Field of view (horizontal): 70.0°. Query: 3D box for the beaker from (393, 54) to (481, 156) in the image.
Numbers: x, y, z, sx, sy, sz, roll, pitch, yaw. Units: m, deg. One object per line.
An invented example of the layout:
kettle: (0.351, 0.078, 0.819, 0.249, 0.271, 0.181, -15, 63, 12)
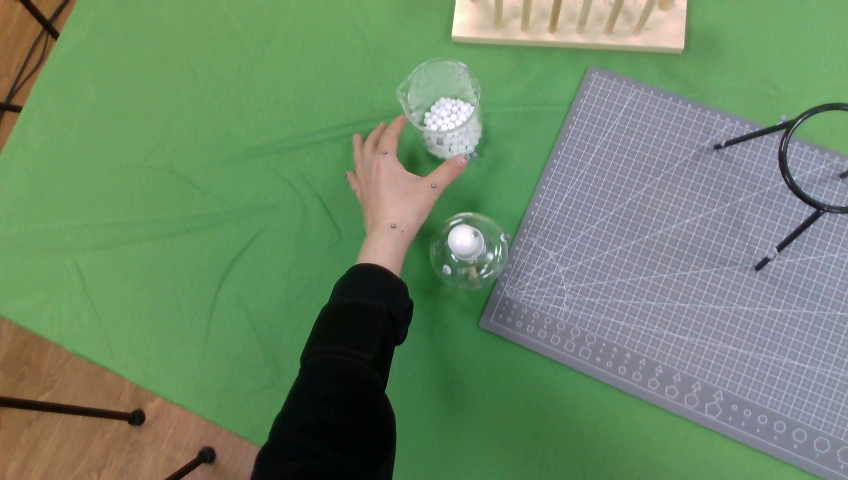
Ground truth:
beaker: (0.017, -0.130, 0.609, 0.084, 0.101, 0.074, 9, 83, 9)

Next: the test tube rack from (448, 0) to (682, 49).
test tube rack: (0.145, -0.250, 0.617, 0.242, 0.085, 0.066, 6, 82, 8)

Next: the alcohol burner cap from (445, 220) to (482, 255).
alcohol burner cap: (0.034, -0.004, 0.545, 0.034, 0.048, 0.034, -1, 85, 8)

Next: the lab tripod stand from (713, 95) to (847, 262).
lab tripod stand: (0.334, -0.057, 0.537, 0.148, 0.132, 0.148, -1, 83, 6)

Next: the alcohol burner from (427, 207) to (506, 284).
alcohol burner: (0.040, 0.003, 0.580, 0.078, 0.119, 0.077, -1, 80, 6)
